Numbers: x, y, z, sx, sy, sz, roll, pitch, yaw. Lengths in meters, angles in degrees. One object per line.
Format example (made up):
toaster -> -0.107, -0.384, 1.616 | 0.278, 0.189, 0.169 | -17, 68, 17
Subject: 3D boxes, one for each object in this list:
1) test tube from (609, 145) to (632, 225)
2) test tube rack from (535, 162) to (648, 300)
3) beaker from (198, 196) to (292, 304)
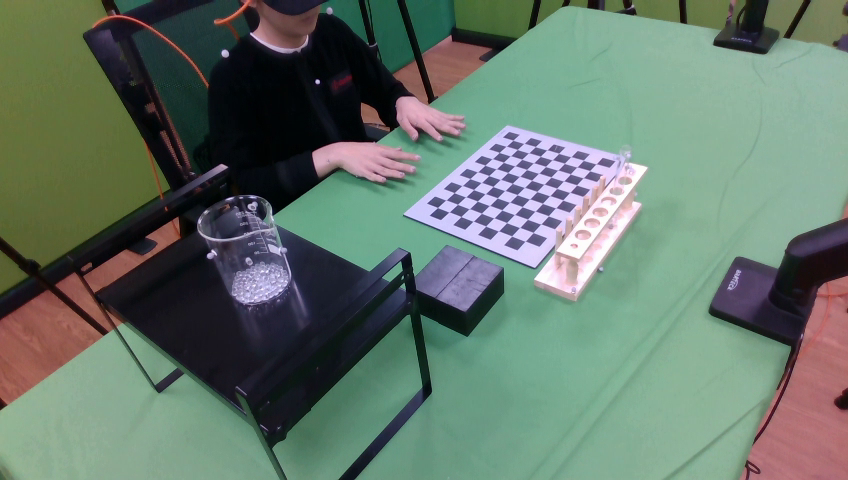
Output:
test tube -> 0.290, -0.078, 0.897 | 0.017, 0.151, 0.017 | -4, 46, 5
test tube rack -> 0.257, -0.024, 0.916 | 0.066, 0.085, 0.243 | 22, 49, 30
beaker -> -0.185, 0.014, 0.651 | 0.083, 0.101, 0.074 | 9, 44, 18
